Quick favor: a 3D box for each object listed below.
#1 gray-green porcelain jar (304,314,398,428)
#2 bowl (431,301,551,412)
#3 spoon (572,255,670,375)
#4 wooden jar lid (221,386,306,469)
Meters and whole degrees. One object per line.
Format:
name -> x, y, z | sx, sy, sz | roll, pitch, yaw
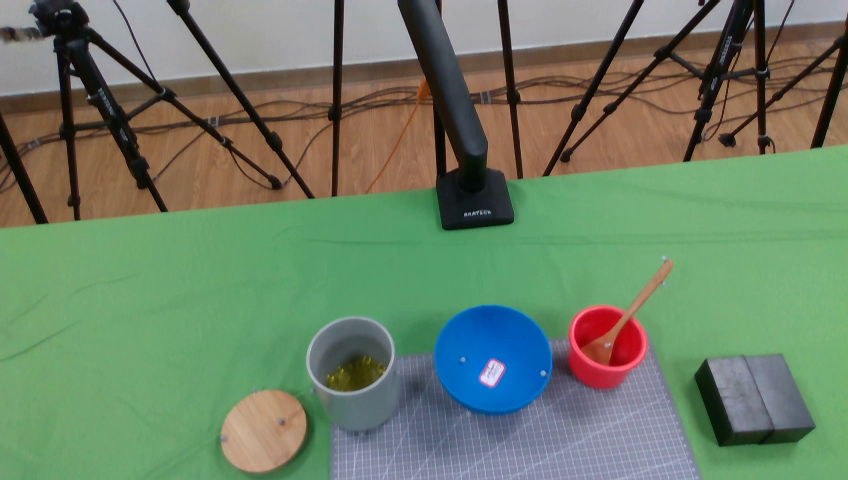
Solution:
gray-green porcelain jar -> -0.087, 0.169, 0.763 | 0.106, 0.127, 0.105 | -1, 52, 1
bowl -> 0.086, 0.163, 0.793 | 0.151, 0.077, 0.150 | -1, 52, 2
spoon -> 0.260, 0.099, 0.793 | 0.041, 0.022, 0.194 | 43, 109, 30
wooden jar lid -> -0.206, 0.243, 0.782 | 0.108, 0.021, 0.107 | -1, 52, 2
